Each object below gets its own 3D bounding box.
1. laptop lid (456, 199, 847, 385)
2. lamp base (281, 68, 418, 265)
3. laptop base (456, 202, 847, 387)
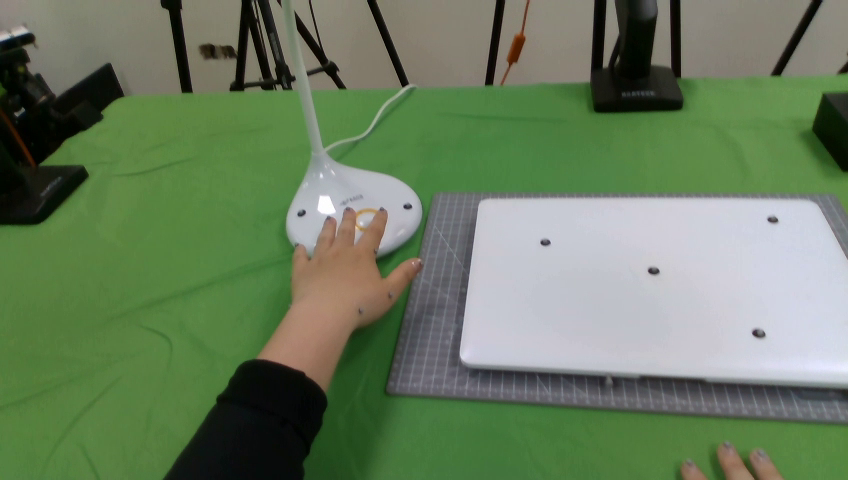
[{"bbox_3d":[0.214,0.034,0.576,0.356,0.013,0.239,1,42,11],"label":"laptop lid"},{"bbox_3d":[-0.103,-0.089,0.667,0.160,0.182,0.177,-33,43,-28],"label":"lamp base"},{"bbox_3d":[0.216,0.042,0.585,0.354,0.023,0.233,1,43,9],"label":"laptop base"}]
